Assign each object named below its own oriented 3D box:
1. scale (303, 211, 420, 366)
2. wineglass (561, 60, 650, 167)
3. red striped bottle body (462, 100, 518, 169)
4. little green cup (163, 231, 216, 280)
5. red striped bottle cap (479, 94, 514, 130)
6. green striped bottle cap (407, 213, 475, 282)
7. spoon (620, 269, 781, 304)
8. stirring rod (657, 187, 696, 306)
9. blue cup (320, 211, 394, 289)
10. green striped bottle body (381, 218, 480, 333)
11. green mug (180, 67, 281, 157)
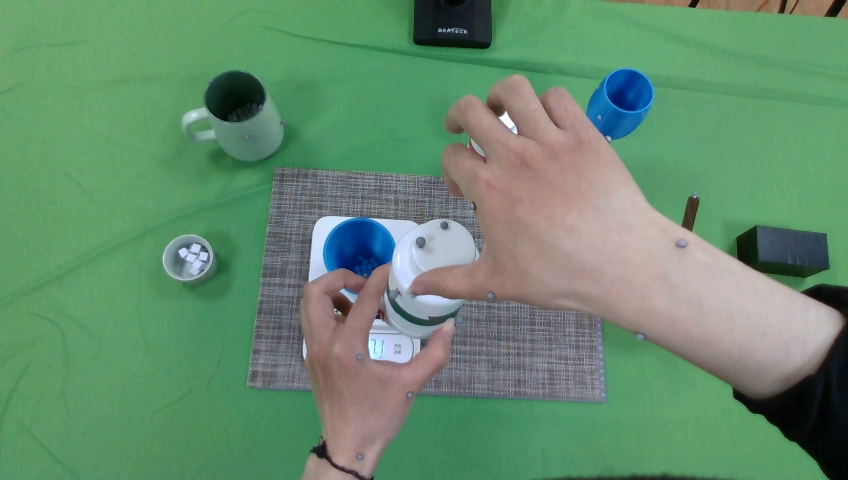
[{"bbox_3d":[-0.079,0.061,0.789,0.149,0.032,0.199,2,74,-3],"label":"scale"},{"bbox_3d":[0.236,-0.163,0.808,0.074,0.173,0.073,1,73,-3],"label":"wineglass"},{"bbox_3d":[0.090,-0.148,0.821,0.063,0.120,0.062,1,73,-3],"label":"red striped bottle body"},{"bbox_3d":[-0.301,0.023,0.785,0.061,0.039,0.061,2,73,-5],"label":"little green cup"},{"bbox_3d":[0.093,-0.163,0.770,0.044,0.018,0.044,1,70,-3],"label":"red striped bottle cap"},{"bbox_3d":[0.011,0.005,0.400,0.044,0.020,0.044,3,71,-8],"label":"green striped bottle cap"},{"bbox_3d":[0.339,0.064,0.760,0.022,0.192,0.041,26,76,-41],"label":"spoon"},{"bbox_3d":[0.321,0.013,0.774,0.014,0.177,0.006,7,32,12],"label":"stirring rod"},{"bbox_3d":[-0.079,0.021,0.733,0.093,0.100,0.092,1,75,-5],"label":"blue cup"},{"bbox_3d":[0.003,0.025,0.448,0.063,0.120,0.062,3,67,-8],"label":"green striped bottle body"},{"bbox_3d":[-0.261,-0.164,0.810,0.125,0.105,0.092,-19,75,-9],"label":"green mug"}]
